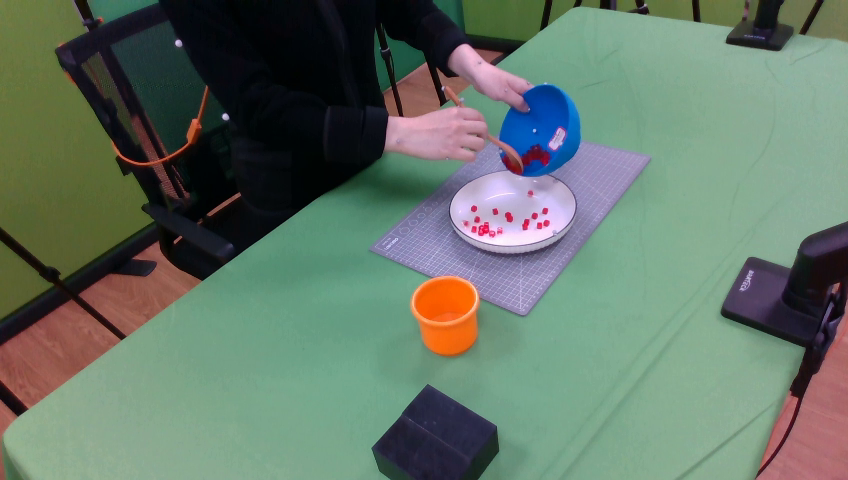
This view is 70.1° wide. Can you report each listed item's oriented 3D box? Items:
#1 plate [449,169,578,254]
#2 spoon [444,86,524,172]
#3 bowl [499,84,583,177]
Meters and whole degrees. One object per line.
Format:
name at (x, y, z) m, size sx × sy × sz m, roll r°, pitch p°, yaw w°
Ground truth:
plate at (0.146, -0.044, 0.993) m, size 0.209 × 0.038 × 0.208 m, roll -5°, pitch 40°, yaw 5°
spoon at (0.094, -0.167, 0.925) m, size 0.021 × 0.195 × 0.041 m, roll -49°, pitch 31°, yaw 9°
bowl at (0.203, -0.168, 0.984) m, size 0.077 × 0.151 × 0.150 m, roll 13°, pitch 26°, yaw -37°
